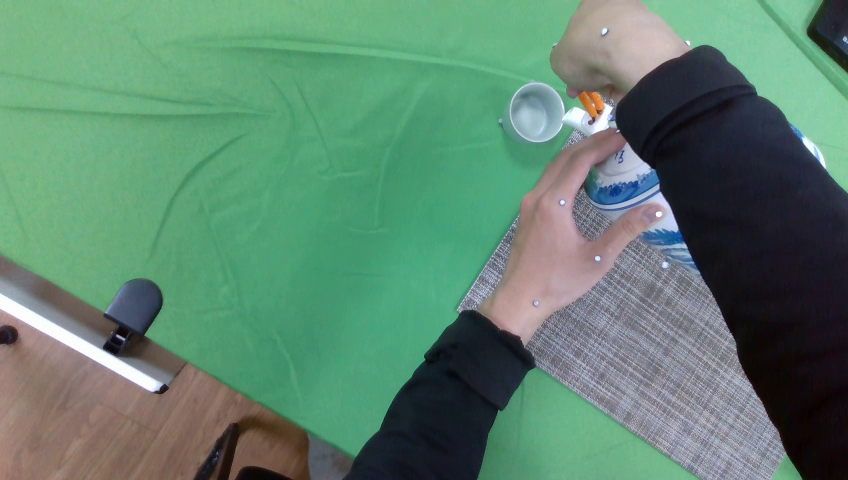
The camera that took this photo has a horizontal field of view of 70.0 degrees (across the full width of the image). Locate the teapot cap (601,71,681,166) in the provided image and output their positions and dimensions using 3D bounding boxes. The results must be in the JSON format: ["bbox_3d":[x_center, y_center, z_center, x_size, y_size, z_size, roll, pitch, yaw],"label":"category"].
[{"bbox_3d":[0.168,-0.099,0.482,0.044,0.085,0.085,30,84,-16],"label":"teapot cap"}]

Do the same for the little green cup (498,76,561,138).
[{"bbox_3d":[0.109,-0.137,0.641,0.062,0.038,0.061,0,90,-13],"label":"little green cup"}]

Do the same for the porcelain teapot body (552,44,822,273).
[{"bbox_3d":[0.191,-0.084,0.524,0.227,0.204,0.145,30,94,-19],"label":"porcelain teapot body"}]
